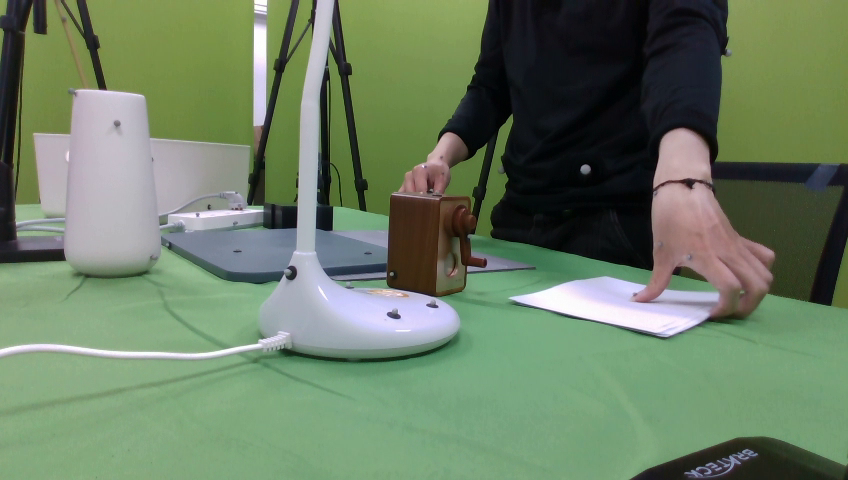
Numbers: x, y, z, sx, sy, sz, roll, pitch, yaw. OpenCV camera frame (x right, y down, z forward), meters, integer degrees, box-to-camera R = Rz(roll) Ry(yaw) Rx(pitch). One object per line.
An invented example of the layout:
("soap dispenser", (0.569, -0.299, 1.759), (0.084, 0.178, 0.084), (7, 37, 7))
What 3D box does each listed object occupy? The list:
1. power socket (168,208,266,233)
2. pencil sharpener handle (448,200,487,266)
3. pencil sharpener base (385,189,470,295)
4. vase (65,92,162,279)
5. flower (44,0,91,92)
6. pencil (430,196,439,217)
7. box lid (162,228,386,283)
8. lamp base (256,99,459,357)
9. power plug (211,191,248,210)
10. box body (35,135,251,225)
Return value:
("power socket", (-0.379, -0.038, 1.129), (0.072, 0.032, 0.227), (4, 8, 18))
("pencil sharpener handle", (0.049, -0.006, 0.623), (0.030, 0.068, 0.036), (8, 22, 37))
("pencil sharpener base", (0.006, 0.001, 0.653), (0.076, 0.107, 0.061), (8, 9, 37))
("vase", (-0.347, -0.060, 0.673), (0.098, 0.200, 0.098), (1, 7, 0))
("flower", (-0.361, -0.142, 0.663), (0.044, 0.361, 0.038), (-12, 11, 30))
("pencil", (0.019, -0.059, 1.056), (0.012, 0.012, 0.194), (2, -6, -1))
("box lid", (-0.200, 0.014, 0.861), (0.265, 0.015, 0.369), (-4, 10, -35))
("lamp base", (-0.055, -0.013, 0.463), (0.160, 0.180, 0.180), (6, 11, 27))
("power plug", (-0.384, -0.071, 1.205), (0.072, 0.052, 0.035), (1, 8, 28))
("box body", (-0.559, -0.127, 1.257), (0.253, 0.160, 0.365), (4, 8, 15))
